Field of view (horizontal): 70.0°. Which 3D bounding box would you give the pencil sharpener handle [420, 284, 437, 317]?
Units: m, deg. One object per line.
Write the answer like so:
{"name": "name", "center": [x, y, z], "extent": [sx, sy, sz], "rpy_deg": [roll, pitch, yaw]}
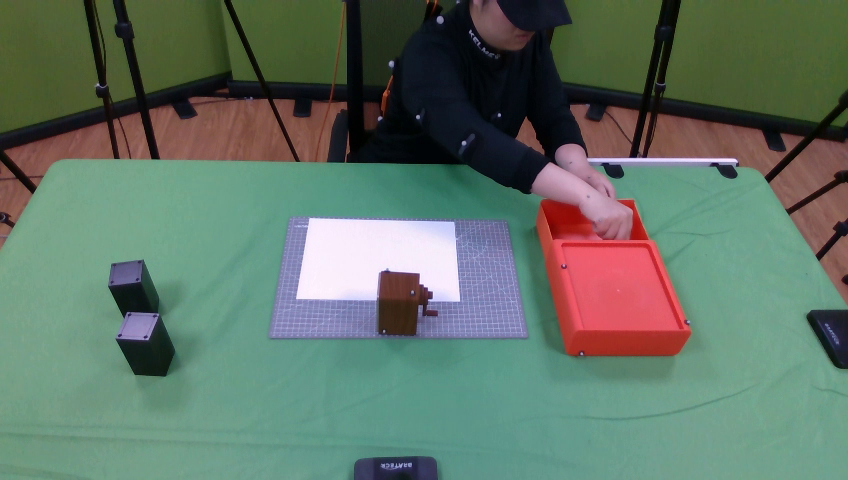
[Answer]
{"name": "pencil sharpener handle", "center": [0.009, 0.104, 1.016], "extent": [0.030, 0.068, 0.036], "rpy_deg": [3, 38, -2]}

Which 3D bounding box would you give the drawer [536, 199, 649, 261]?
{"name": "drawer", "center": [0.332, 0.015, 1.170], "extent": [0.195, 0.073, 0.210], "rpy_deg": [0, 46, -4]}

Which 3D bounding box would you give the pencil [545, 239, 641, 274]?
{"name": "pencil", "center": [0.333, 0.032, 1.196], "extent": [0.193, 0.012, 0.012], "rpy_deg": [20, 47, 13]}

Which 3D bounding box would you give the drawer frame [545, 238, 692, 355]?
{"name": "drawer frame", "center": [0.338, 0.097, 1.086], "extent": [0.202, 0.083, 0.212], "rpy_deg": [0, 46, -4]}

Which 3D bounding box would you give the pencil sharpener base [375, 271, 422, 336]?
{"name": "pencil sharpener base", "center": [-0.043, 0.109, 1.025], "extent": [0.077, 0.107, 0.061], "rpy_deg": [3, 45, -2]}
